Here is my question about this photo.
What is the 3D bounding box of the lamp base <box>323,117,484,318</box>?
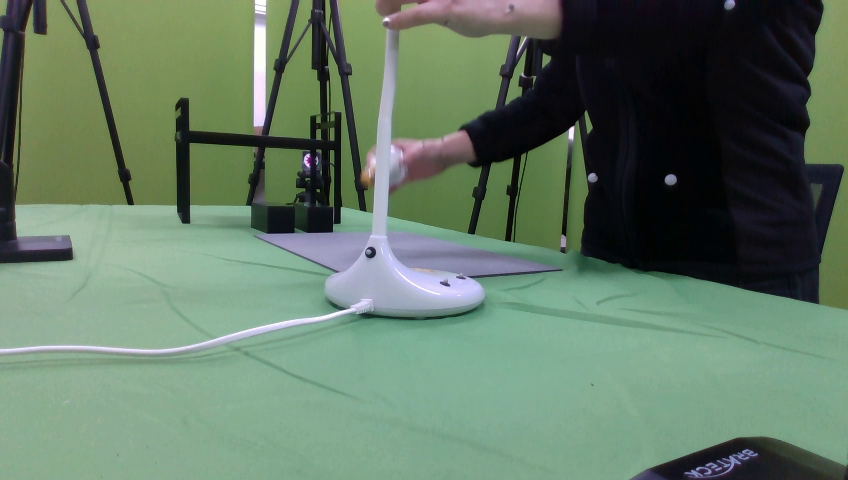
[{"bbox_3d":[-0.021,-0.025,0.582,0.160,0.180,0.179,4,10,16],"label":"lamp base"}]

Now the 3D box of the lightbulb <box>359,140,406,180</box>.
[{"bbox_3d":[-0.067,-0.118,0.927,0.059,0.059,0.108,6,26,24],"label":"lightbulb"}]
